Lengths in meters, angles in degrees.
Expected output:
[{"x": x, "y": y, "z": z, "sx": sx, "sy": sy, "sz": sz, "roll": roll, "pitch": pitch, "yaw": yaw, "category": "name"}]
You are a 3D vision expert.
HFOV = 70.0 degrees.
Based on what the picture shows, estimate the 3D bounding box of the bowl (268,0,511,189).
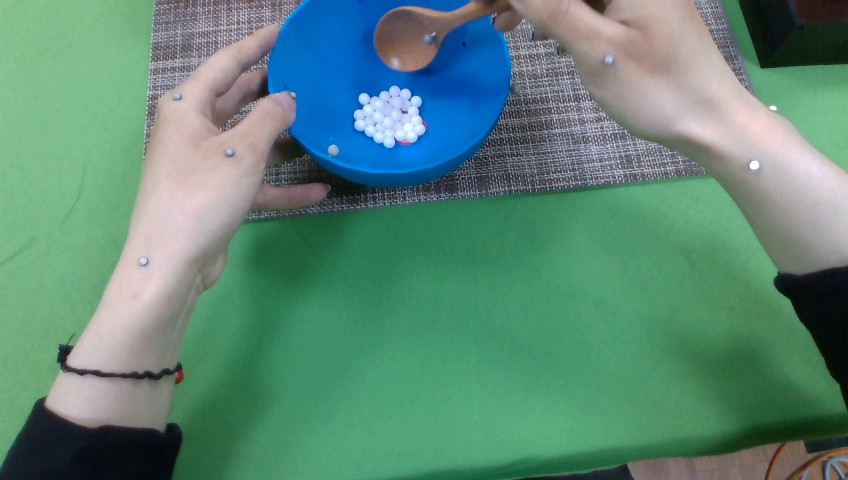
[{"x": -0.020, "y": -0.091, "z": 0.406, "sx": 0.151, "sy": 0.077, "sz": 0.150, "roll": 0, "pitch": 68, "yaw": 0, "category": "bowl"}]

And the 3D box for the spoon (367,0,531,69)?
[{"x": 0.023, "y": -0.125, "z": 0.334, "sx": 0.021, "sy": 0.192, "sz": 0.042, "roll": -45, "pitch": 116, "yaw": -21, "category": "spoon"}]
